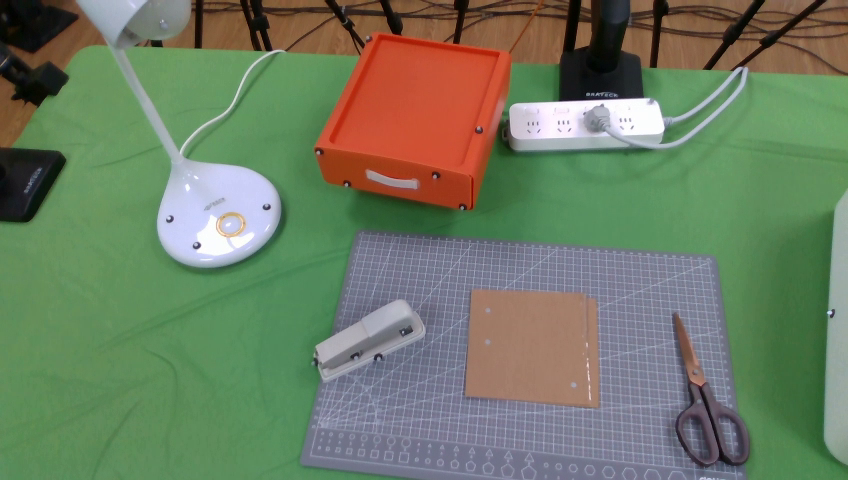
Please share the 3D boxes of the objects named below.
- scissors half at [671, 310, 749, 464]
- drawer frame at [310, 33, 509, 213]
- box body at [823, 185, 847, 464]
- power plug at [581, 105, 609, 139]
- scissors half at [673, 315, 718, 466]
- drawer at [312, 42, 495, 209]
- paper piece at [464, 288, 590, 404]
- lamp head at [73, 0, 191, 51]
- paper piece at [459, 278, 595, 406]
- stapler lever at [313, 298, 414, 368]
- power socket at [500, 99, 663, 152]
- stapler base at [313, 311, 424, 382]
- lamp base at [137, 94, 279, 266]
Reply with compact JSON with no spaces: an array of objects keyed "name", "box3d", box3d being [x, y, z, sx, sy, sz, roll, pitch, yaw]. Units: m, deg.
[{"name":"scissors half","box3d":[0.301,0.151,0.651,0.040,0.013,0.173,-9,56,-7]},{"name":"drawer frame","box3d":[-0.012,-0.158,0.787,0.201,0.083,0.212,12,59,12]},{"name":"box body","box3d":[0.561,0.073,0.598,0.253,0.162,0.362,16,59,14]},{"name":"power plug","box3d":[0.228,-0.150,0.817,0.035,0.053,0.072,8,58,9]},{"name":"scissors half","box3d":[0.281,0.152,0.649,0.040,0.013,0.173,8,54,-1]},{"name":"drawer","box3d":[-0.012,-0.154,0.781,0.194,0.074,0.210,12,57,12]},{"name":"paper piece","box3d":[0.117,0.116,0.688,0.136,0.009,0.137,1,59,9]},{"name":"lamp head","box3d":[-0.256,-0.235,0.496,0.123,0.112,0.112,45,63,-14]},{"name":"paper piece","box3d":[0.121,0.113,0.701,0.135,0.004,0.135,10,60,18]},{"name":"stapler lever","box3d":[-0.067,0.102,0.671,0.118,0.040,0.026,-24,55,-10]},{"name":"power socket","box3d":[0.221,-0.161,0.852,0.227,0.033,0.071,-1,57,3]},{"name":"stapler base","box3d":[-0.064,0.115,0.692,0.130,0.024,0.041,-24,55,-10]},{"name":"lamp base","box3d":[-0.287,-0.083,0.745,0.177,0.182,0.160,34,64,26]}]
